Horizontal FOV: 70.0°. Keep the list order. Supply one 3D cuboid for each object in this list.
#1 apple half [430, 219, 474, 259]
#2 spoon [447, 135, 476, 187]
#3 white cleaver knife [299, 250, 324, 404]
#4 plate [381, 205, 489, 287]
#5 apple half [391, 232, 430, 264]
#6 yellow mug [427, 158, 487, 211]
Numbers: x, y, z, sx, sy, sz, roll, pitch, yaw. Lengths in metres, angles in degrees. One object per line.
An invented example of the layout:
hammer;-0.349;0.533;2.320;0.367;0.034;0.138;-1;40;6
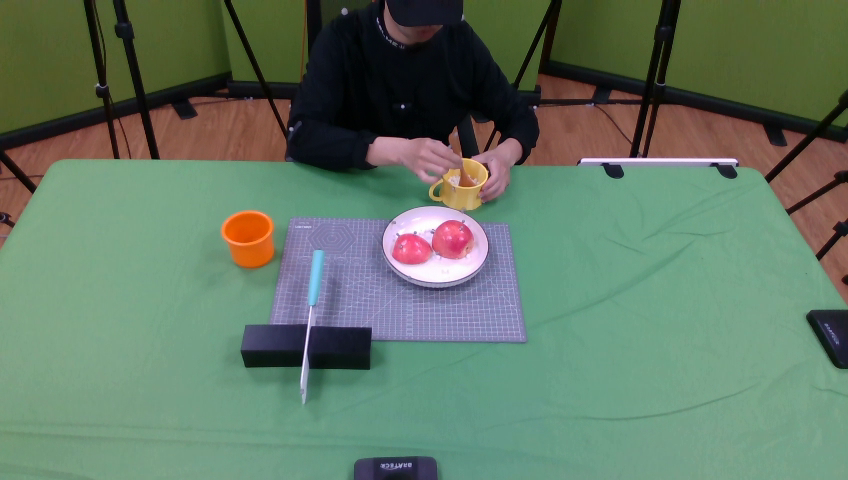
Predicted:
apple half;0.056;-0.008;1.172;0.081;0.053;0.074;-33;59;-31
spoon;0.073;-0.151;1.230;0.041;0.195;0.021;-3;56;17
white cleaver knife;-0.194;0.134;1.019;0.021;0.066;0.284;5;50;-5
plate;0.021;0.015;1.170;0.209;0.038;0.208;2;46;-2
apple half;-0.024;0.009;1.163;0.081;0.033;0.081;2;43;-2
yellow mug;0.067;-0.115;1.285;0.131;0.064;0.099;-17;48;-18
